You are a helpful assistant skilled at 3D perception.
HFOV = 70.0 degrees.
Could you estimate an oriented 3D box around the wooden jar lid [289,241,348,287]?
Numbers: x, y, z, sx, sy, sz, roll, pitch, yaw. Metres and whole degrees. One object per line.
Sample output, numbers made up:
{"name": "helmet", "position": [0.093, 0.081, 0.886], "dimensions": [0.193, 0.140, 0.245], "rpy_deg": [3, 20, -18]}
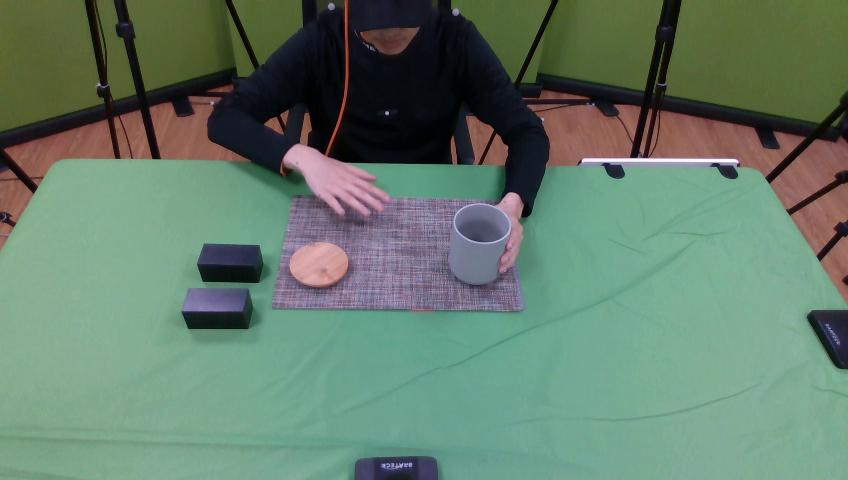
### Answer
{"name": "wooden jar lid", "position": [-0.196, 0.047, 1.133], "dimensions": [0.108, 0.021, 0.107], "rpy_deg": [2, 45, -2]}

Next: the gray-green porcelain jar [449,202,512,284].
{"name": "gray-green porcelain jar", "position": [0.101, 0.011, 1.116], "dimensions": [0.106, 0.127, 0.105], "rpy_deg": [2, 47, -2]}
